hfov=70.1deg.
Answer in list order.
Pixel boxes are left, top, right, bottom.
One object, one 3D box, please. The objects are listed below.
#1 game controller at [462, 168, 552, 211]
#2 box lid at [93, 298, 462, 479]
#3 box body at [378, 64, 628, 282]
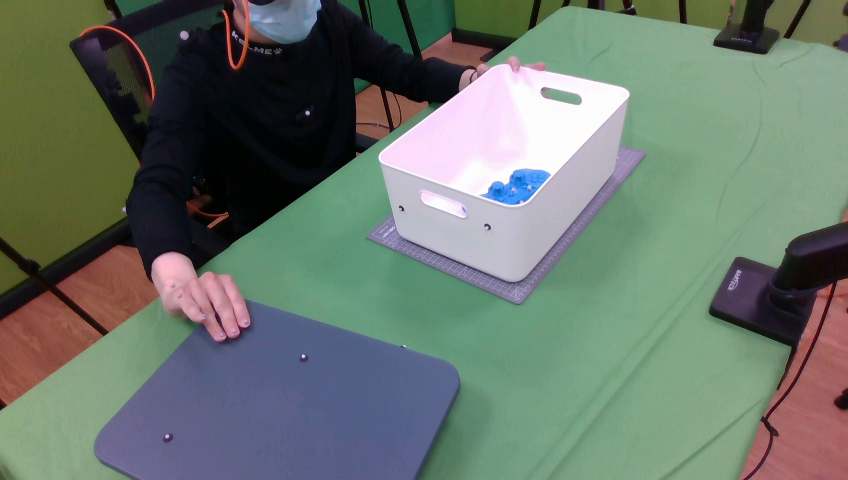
[{"bbox_3d":[0.147,-0.079,1.007,0.156,0.052,0.096,-30,50,-24],"label":"game controller"},{"bbox_3d":[-0.164,0.200,0.700,0.369,0.015,0.263,13,45,21],"label":"box lid"},{"bbox_3d":[0.137,-0.121,0.978,0.252,0.161,0.365,22,48,30],"label":"box body"}]
